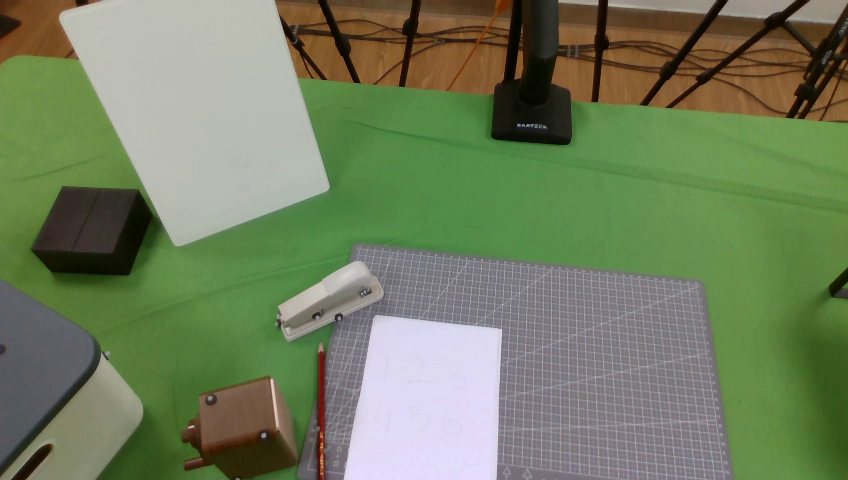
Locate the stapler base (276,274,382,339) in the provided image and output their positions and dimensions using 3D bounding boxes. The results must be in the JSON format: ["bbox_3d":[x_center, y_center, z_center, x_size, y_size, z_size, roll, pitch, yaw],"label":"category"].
[{"bbox_3d":[-0.115,0.073,0.732,0.131,0.024,0.041,-25,55,-13],"label":"stapler base"}]

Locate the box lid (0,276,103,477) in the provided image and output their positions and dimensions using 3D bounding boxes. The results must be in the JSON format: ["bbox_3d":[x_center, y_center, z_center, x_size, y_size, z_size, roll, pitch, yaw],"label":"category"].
[{"bbox_3d":[-0.501,0.112,0.522,0.370,0.015,0.262,25,58,14],"label":"box lid"}]

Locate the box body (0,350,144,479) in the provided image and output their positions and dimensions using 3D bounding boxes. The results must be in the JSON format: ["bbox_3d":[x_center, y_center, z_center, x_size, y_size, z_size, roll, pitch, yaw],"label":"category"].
[{"bbox_3d":[-0.500,0.156,0.584,0.362,0.162,0.253,24,58,15],"label":"box body"}]

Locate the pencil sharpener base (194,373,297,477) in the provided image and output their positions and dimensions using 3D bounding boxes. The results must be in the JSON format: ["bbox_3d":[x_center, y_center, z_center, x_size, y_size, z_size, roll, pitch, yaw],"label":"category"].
[{"bbox_3d":[-0.175,0.186,0.602,0.077,0.108,0.060,-12,56,-9],"label":"pencil sharpener base"}]

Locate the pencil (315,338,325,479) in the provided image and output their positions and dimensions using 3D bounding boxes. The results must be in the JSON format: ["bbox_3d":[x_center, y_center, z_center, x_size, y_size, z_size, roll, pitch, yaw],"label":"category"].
[{"bbox_3d":[-0.113,0.192,0.657,0.012,0.012,0.192,-5,55,-4],"label":"pencil"}]

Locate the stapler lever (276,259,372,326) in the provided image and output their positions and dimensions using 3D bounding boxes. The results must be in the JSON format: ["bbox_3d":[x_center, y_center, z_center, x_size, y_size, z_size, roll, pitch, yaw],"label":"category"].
[{"bbox_3d":[-0.118,0.060,0.711,0.118,0.040,0.026,-24,55,-13],"label":"stapler lever"}]

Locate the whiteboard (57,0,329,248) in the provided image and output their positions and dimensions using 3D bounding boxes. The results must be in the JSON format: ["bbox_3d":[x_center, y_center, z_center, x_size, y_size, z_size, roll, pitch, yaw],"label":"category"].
[{"bbox_3d":[-0.279,-0.183,0.775,0.217,0.308,0.142,-23,39,-15],"label":"whiteboard"}]

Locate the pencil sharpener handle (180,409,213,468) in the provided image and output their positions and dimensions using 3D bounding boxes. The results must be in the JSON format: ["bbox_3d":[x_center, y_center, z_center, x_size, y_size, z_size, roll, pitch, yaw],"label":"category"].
[{"bbox_3d":[-0.223,0.194,0.580,0.031,0.068,0.035,-12,35,-9],"label":"pencil sharpener handle"}]
